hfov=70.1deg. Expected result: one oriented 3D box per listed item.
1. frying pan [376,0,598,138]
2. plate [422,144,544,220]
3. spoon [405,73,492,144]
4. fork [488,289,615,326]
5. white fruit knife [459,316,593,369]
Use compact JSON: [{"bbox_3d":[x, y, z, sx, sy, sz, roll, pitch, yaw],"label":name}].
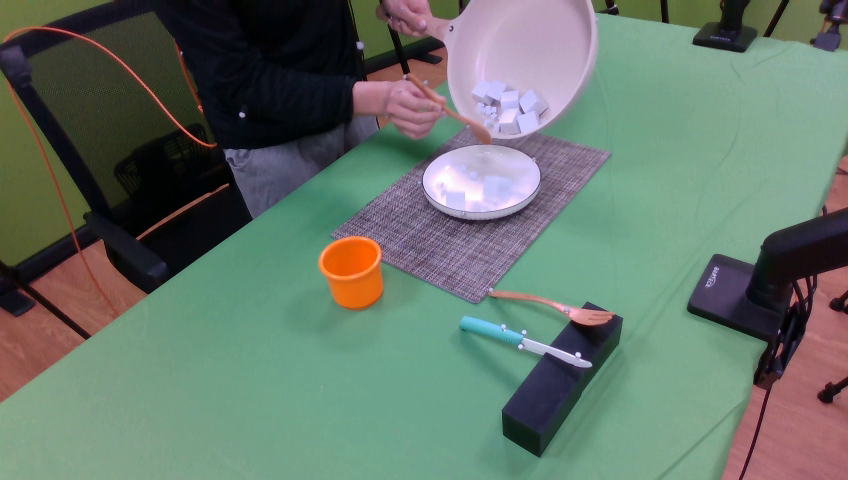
[{"bbox_3d":[0.093,-0.363,1.095,0.484,0.306,0.103,30,17,28],"label":"frying pan"},{"bbox_3d":[0.102,-0.097,1.049,0.207,0.039,0.206,-4,40,4],"label":"plate"},{"bbox_3d":[0.041,-0.207,0.963,0.041,0.195,0.021,22,87,54],"label":"spoon"},{"bbox_3d":[0.161,0.086,0.800,0.205,0.019,0.028,12,48,48],"label":"fork"},{"bbox_3d":[0.120,0.127,0.757,0.205,0.027,0.016,12,46,43],"label":"white fruit knife"}]
